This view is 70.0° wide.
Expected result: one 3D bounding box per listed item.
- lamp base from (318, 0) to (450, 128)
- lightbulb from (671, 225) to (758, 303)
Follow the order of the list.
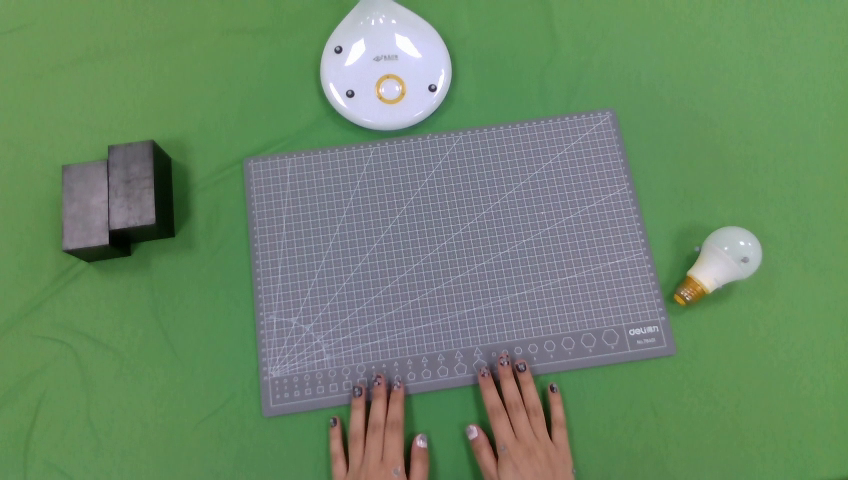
[{"bbox_3d":[-0.053,-0.242,0.668,0.161,0.181,0.178,-16,73,-4],"label":"lamp base"},{"bbox_3d":[0.315,0.029,0.665,0.107,0.060,0.059,-43,79,5],"label":"lightbulb"}]
